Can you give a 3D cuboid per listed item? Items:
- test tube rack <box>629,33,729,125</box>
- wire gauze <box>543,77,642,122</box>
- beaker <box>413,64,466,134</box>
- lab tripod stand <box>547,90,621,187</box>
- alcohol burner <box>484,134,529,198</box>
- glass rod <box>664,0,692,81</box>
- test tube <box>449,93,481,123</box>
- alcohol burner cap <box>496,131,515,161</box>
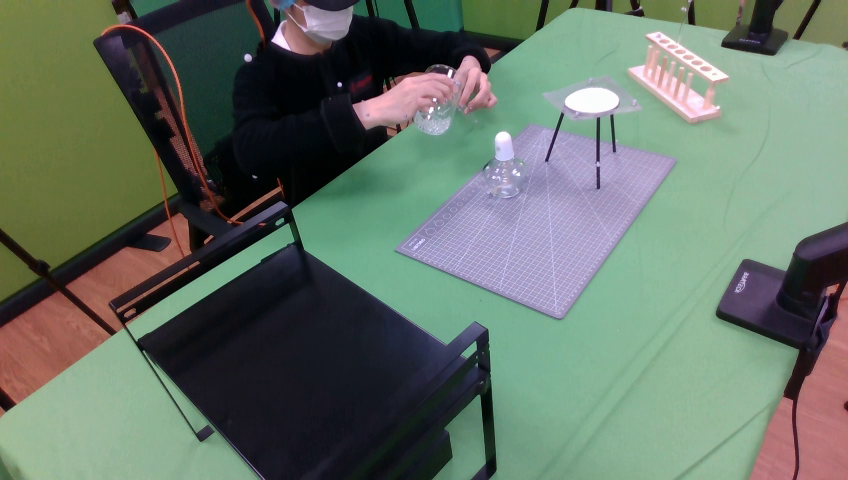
[{"bbox_3d":[0.516,-0.337,1.247,0.067,0.085,0.240,-14,41,-7],"label":"test tube rack"},{"bbox_3d":[0.282,-0.236,1.020,0.125,0.011,0.120,-15,40,-6],"label":"wire gauze"},{"bbox_3d":[0.026,-0.241,1.057,0.073,0.084,0.100,4,62,27],"label":"beaker"},{"bbox_3d":[0.289,-0.184,1.062,0.148,0.132,0.147,-6,41,6],"label":"lab tripod stand"},{"bbox_3d":[0.141,-0.133,1.041,0.078,0.119,0.077,-4,43,5],"label":"alcohol burner"},{"bbox_3d":[0.524,-0.419,1.240,0.008,0.200,0.008,1,42,-1],"label":"glass rod"},{"bbox_3d":[0.082,-0.254,1.174,0.017,0.151,0.017,-3,82,23],"label":"test tube"},{"bbox_3d":[0.135,-0.160,1.018,0.034,0.048,0.033,-8,36,6],"label":"alcohol burner cap"}]
